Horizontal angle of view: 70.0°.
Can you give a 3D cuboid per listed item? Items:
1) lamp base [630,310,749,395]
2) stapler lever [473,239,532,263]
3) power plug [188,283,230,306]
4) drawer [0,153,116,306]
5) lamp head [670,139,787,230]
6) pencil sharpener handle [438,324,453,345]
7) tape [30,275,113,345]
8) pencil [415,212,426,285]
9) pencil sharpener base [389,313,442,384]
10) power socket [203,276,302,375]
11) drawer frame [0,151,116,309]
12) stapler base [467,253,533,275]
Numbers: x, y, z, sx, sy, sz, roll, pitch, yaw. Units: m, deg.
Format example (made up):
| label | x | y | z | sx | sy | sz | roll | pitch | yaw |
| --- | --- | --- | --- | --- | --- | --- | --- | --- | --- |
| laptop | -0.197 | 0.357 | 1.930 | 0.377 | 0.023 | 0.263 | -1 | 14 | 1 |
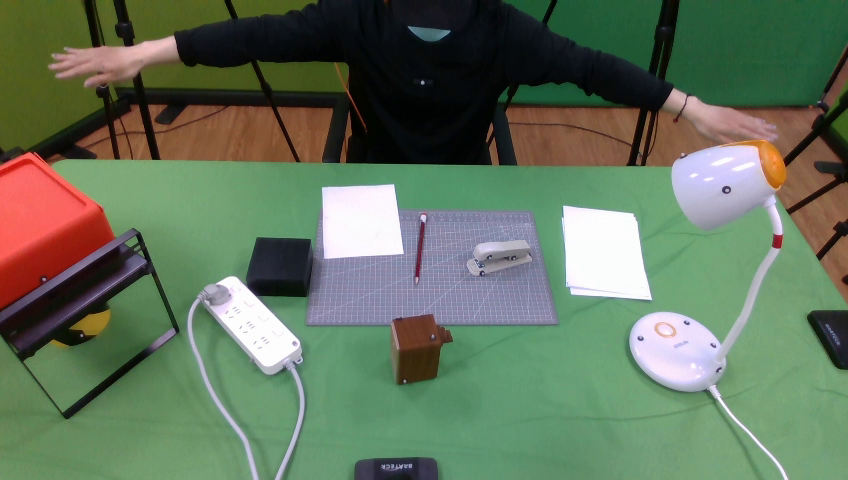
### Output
| label | x | y | z | sx | sy | sz | roll | pitch | yaw |
| --- | --- | --- | --- | --- | --- | --- | --- | --- | --- |
| lamp base | 0.447 | 0.142 | 0.984 | 0.161 | 0.181 | 0.178 | -24 | 55 | -24 |
| stapler lever | 0.150 | 0.017 | 1.155 | 0.118 | 0.040 | 0.026 | -13 | 50 | -17 |
| power plug | -0.368 | 0.099 | 1.037 | 0.072 | 0.053 | 0.035 | -24 | 52 | -26 |
| drawer | -0.601 | -0.015 | 0.880 | 0.193 | 0.073 | 0.211 | 32 | 53 | 23 |
| lamp head | 0.415 | -0.079 | 0.812 | 0.113 | 0.123 | 0.112 | 13 | 70 | -37 |
| pencil sharpener handle | 0.036 | 0.155 | 0.976 | 0.031 | 0.068 | 0.036 | -8 | 70 | -11 |
| tape | -0.594 | 0.117 | 1.022 | 0.117 | 0.053 | 0.116 | 2 | 45 | -2 |
| pencil | -0.007 | 0.014 | 1.190 | 0.012 | 0.012 | 0.193 | 5 | 47 | 1 |
| pencil sharpener base | -0.013 | 0.175 | 0.971 | 0.077 | 0.107 | 0.061 | -8 | 47 | -11 |
| power socket | -0.297 | 0.141 | 1.034 | 0.072 | 0.033 | 0.225 | -34 | 58 | -30 |
| drawer frame | -0.604 | -0.013 | 0.876 | 0.201 | 0.083 | 0.213 | 31 | 52 | 23 |
| stapler base | 0.148 | 0.034 | 1.171 | 0.131 | 0.024 | 0.041 | -12 | 50 | -18 |
